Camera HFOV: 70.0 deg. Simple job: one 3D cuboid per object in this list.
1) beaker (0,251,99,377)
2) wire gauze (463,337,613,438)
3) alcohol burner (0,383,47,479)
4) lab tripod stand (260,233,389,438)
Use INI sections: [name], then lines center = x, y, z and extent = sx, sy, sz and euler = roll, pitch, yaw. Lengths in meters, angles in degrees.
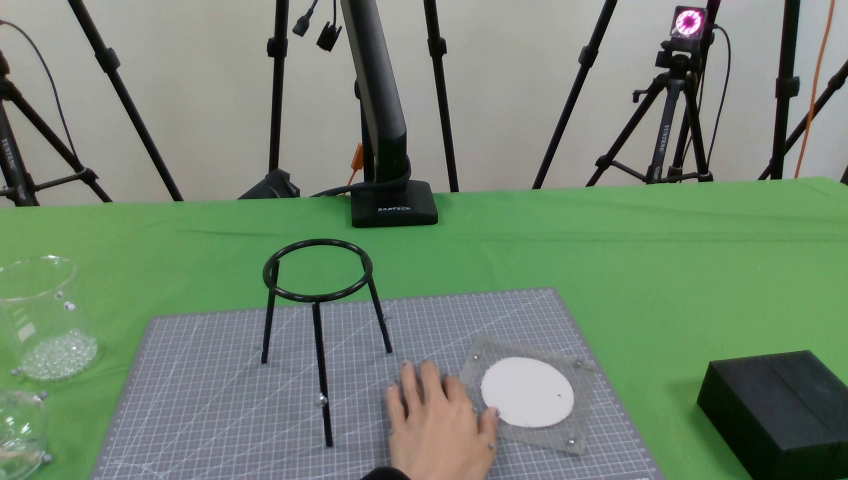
[beaker]
center = -0.352, 0.069, 0.566
extent = 0.074, 0.101, 0.083
euler = 3, 31, 2
[wire gauze]
center = 0.098, 0.127, 0.546
extent = 0.125, 0.011, 0.120
euler = 6, 29, -5
[alcohol burner]
center = -0.334, 0.127, 0.457
extent = 0.078, 0.120, 0.077
euler = 2, 30, -1
[lab tripod stand]
center = -0.089, 0.074, 0.531
extent = 0.148, 0.132, 0.147
euler = 3, 32, -1
